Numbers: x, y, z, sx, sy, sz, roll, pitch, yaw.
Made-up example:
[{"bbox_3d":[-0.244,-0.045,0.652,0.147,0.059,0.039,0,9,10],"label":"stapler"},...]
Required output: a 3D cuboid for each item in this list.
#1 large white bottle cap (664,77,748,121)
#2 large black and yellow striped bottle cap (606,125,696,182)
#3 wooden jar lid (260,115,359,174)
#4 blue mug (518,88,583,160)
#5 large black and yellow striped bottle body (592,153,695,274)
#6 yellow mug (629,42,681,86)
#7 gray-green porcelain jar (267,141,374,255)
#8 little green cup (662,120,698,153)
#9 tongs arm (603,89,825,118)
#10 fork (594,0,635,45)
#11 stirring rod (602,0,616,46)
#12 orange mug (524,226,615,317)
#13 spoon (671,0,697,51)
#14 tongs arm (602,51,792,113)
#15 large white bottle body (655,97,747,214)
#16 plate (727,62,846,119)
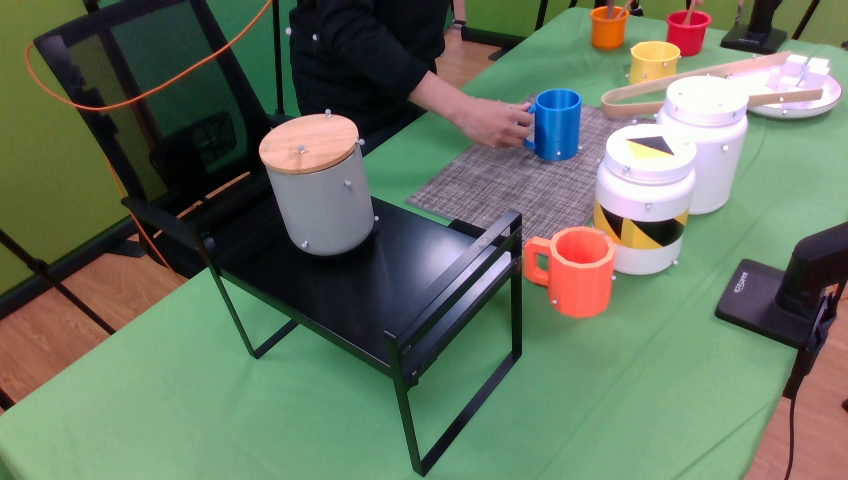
[{"bbox_3d":[0.421,-0.212,0.905,0.115,0.018,0.114,-4,40,4],"label":"large white bottle cap"},{"bbox_3d":[0.305,-0.119,0.816,0.115,0.019,0.114,-5,41,5],"label":"large black and yellow striped bottle cap"},{"bbox_3d":[-0.124,-0.101,0.662,0.108,0.021,0.108,-4,41,4],"label":"wooden jar lid"},{"bbox_3d":[0.232,-0.213,1.120,0.116,0.106,0.082,-7,41,2],"label":"blue mug"},{"bbox_3d":[0.313,-0.056,0.872,0.131,0.185,0.130,-4,41,4],"label":"large black and yellow striped bottle body"},{"bbox_3d":[0.495,-0.389,1.321,0.100,0.064,0.130,-14,40,-6],"label":"yellow mug"},{"bbox_3d":[-0.117,-0.054,0.703,0.106,0.127,0.105,-4,40,4],"label":"gray-green porcelain jar"},{"bbox_3d":[0.469,-0.191,1.117,0.061,0.039,0.061,-5,41,5],"label":"little green cup"},{"bbox_3d":[0.546,-0.262,1.163,0.386,0.028,0.028,-1,49,18],"label":"tongs arm"},{"bbox_3d":[0.485,-0.552,1.447,0.207,0.019,0.028,-51,45,17],"label":"fork"},{"bbox_3d":[0.452,-0.554,1.464,0.014,0.006,0.176,11,86,14],"label":"stirring rod"},{"bbox_3d":[0.201,0.039,0.845,0.125,0.101,0.083,18,46,21],"label":"orange mug"},{"bbox_3d":[0.605,-0.521,1.361,0.041,0.194,0.022,30,32,32],"label":"spoon"},{"bbox_3d":[0.552,-0.320,1.224,0.384,0.027,0.050,-10,43,7],"label":"tongs arm"},{"bbox_3d":[0.431,-0.148,0.959,0.130,0.185,0.130,-4,41,4],"label":"large white bottle body"},{"bbox_3d":[0.709,-0.292,1.197,0.207,0.039,0.206,-4,40,4],"label":"plate"}]
